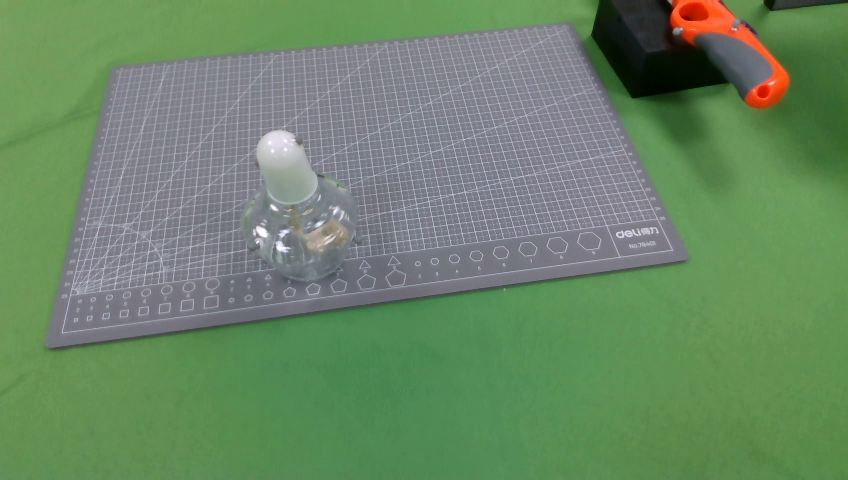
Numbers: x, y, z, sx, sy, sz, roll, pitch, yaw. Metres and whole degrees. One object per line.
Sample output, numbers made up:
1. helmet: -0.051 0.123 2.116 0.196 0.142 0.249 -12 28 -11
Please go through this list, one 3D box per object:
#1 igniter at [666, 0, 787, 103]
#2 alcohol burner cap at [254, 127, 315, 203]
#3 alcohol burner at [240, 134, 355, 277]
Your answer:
1. igniter: 0.232 -0.211 0.533 0.057 0.025 0.273 -12 52 -5
2. alcohol burner cap: -0.087 -0.049 0.372 0.034 0.048 0.033 0 57 1
3. alcohol burner: -0.086 -0.027 0.400 0.078 0.120 0.077 0 56 1
